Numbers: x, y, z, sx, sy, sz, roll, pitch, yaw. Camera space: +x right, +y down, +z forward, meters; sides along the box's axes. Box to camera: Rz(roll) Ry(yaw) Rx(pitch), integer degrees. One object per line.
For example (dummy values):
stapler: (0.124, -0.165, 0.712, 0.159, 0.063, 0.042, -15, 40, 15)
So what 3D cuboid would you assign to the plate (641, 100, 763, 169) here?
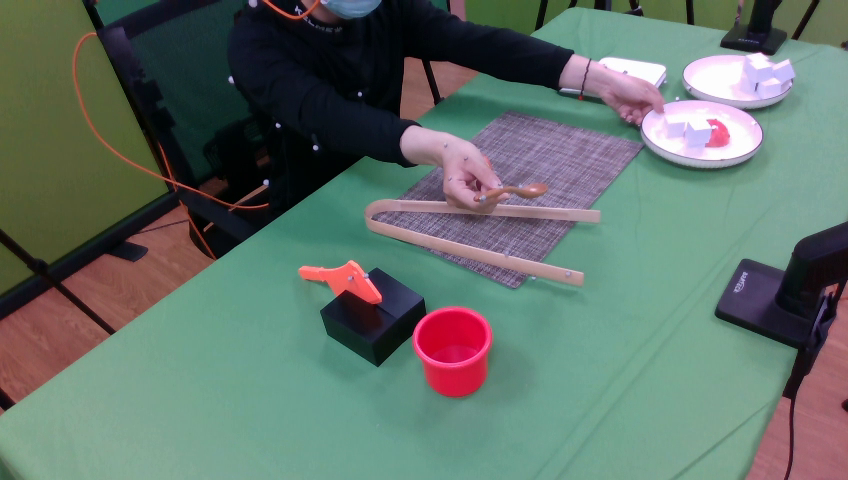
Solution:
plate: (0.504, -0.190, 1.109, 0.209, 0.038, 0.208, -3, 42, 4)

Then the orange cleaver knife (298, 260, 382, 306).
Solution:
orange cleaver knife: (-0.125, 0.063, 0.876, 0.012, 0.077, 0.210, -38, 19, -30)

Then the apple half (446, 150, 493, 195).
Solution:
apple half: (0.080, -0.124, 1.065, 0.081, 0.075, 0.053, -7, 36, 7)

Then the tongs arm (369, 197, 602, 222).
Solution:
tongs arm: (0.097, -0.049, 1.007, 0.386, 0.028, 0.028, 3, 47, 13)

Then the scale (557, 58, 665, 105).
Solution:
scale: (0.407, -0.348, 1.314, 0.199, 0.032, 0.149, 19, 47, 28)

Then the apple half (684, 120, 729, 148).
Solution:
apple half: (0.522, -0.202, 1.112, 0.081, 0.033, 0.081, -2, 40, 2)

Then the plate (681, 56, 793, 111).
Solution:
plate: (0.636, -0.317, 1.239, 0.207, 0.039, 0.206, -4, 40, 4)

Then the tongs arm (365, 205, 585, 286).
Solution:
tongs arm: (0.067, 0.003, 0.950, 0.382, 0.026, 0.051, 13, 46, 23)

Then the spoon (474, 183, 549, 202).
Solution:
spoon: (0.115, -0.064, 0.801, 0.041, 0.021, 0.195, 6, 8, 34)
